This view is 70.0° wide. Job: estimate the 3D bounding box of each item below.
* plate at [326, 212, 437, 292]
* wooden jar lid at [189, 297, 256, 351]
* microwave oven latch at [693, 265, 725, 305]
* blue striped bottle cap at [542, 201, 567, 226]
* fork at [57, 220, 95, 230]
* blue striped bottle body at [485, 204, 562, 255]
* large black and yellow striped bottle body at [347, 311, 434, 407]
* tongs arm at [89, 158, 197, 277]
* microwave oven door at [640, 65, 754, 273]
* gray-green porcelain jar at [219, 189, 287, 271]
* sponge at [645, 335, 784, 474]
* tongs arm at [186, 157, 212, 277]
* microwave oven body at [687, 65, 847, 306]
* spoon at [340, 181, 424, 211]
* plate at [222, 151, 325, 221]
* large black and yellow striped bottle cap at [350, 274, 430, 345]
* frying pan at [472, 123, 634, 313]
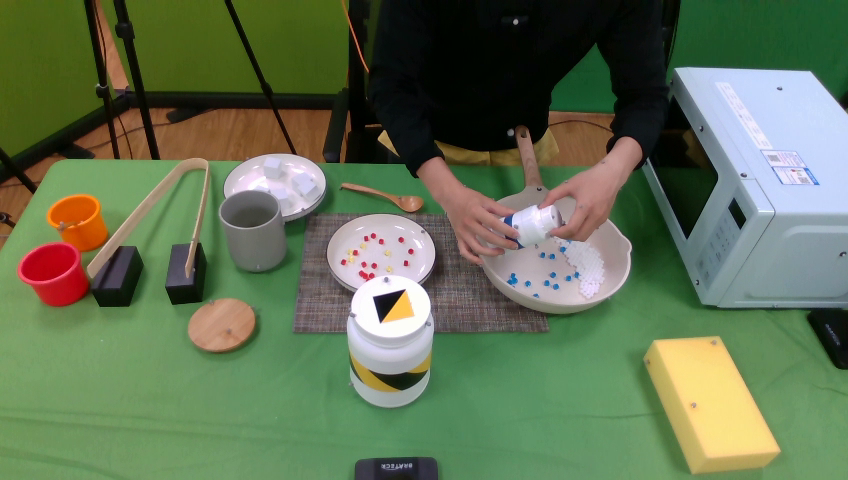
[{"bbox_3d":[-0.080,0.030,1.143,0.209,0.038,0.208,2,46,-2],"label":"plate"},{"bbox_3d":[-0.342,0.145,1.033,0.108,0.021,0.107,2,45,-2],"label":"wooden jar lid"},{"bbox_3d":[0.523,0.081,1.116,0.030,0.029,0.078,2,46,-1],"label":"microwave oven latch"},{"bbox_3d":[0.213,-0.041,0.987,0.045,0.020,0.044,17,62,-36],"label":"blue striped bottle cap"},{"bbox_3d":[-0.624,-0.027,1.087,0.028,0.207,0.018,-3,92,-17],"label":"fork"},{"bbox_3d":[0.167,-0.020,1.006,0.121,0.063,0.063,-21,35,34],"label":"blue striped bottle body"},{"bbox_3d":[-0.052,0.157,0.929,0.131,0.185,0.130,2,47,-2],"label":"large black and yellow striped bottle body"},{"bbox_3d":[-0.530,-0.058,1.163,0.028,0.028,0.385,1,36,7],"label":"tongs arm"},{"bbox_3d":[0.524,-0.147,1.193,0.039,0.245,0.353,0,47,-3],"label":"microwave oven door"},{"bbox_3d":[-0.310,-0.014,1.113,0.106,0.127,0.105,2,46,-2],"label":"gray-green porcelain jar"},{"bbox_3d":[0.449,0.253,0.956,0.118,0.061,0.205,-4,46,-7],"label":"sponge"},{"bbox_3d":[-0.445,-0.058,1.168,0.051,0.026,0.382,-4,37,-6],"label":"tongs arm"},{"bbox_3d":[0.669,-0.111,1.176,0.326,0.261,0.439,0,46,-3],"label":"microwave oven body"},{"bbox_3d":[-0.090,-0.100,1.282,0.193,0.022,0.041,18,66,13],"label":"spoon"},{"bbox_3d":[-0.310,-0.106,1.263,0.208,0.039,0.206,2,47,-2],"label":"plate"},{"bbox_3d":[-0.048,0.097,0.867,0.115,0.019,0.114,3,48,-3],"label":"large black and yellow striped bottle cap"},{"bbox_3d":[0.235,-0.061,1.207,0.307,0.103,0.484,1,55,-6],"label":"frying pan"}]
